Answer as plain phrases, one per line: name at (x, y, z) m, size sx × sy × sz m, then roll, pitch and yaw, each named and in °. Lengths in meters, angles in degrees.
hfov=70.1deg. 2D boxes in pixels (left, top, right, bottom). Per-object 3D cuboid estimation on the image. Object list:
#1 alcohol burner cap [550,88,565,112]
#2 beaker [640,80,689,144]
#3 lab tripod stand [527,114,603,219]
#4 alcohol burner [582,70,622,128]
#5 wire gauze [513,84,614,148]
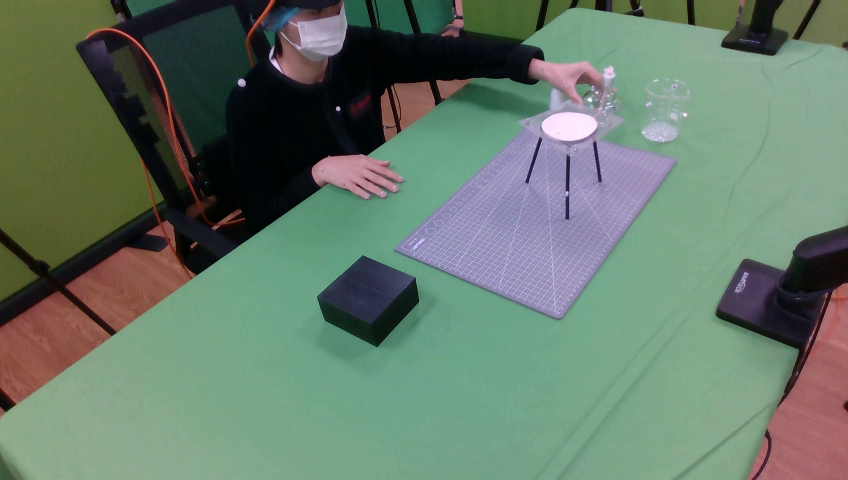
alcohol burner cap at (0.281, -0.297, 1.271) m, size 0.034 × 0.048 × 0.033 m, roll -4°, pitch 40°, yaw 4°
beaker at (0.446, -0.235, 1.126) m, size 0.074 × 0.101 × 0.083 m, roll -34°, pitch 47°, yaw -27°
lab tripod stand at (0.234, -0.129, 1.002) m, size 0.148 × 0.132 × 0.147 m, roll -6°, pitch 40°, yaw 6°
alcohol burner at (0.349, -0.279, 1.178) m, size 0.078 × 0.119 × 0.077 m, roll 0°, pitch 47°, yaw 0°
wire gauze at (0.220, -0.194, 0.951) m, size 0.120 × 0.011 × 0.125 m, roll 23°, pitch 56°, yaw 25°
